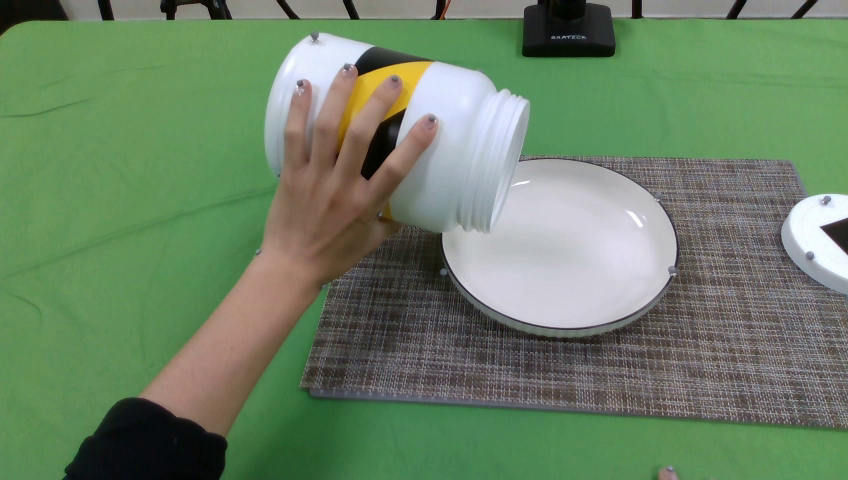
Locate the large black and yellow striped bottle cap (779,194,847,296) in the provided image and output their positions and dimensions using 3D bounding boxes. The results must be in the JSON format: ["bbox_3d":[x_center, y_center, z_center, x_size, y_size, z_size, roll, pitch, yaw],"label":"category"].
[{"bbox_3d":[0.383,0.003,0.545,0.115,0.019,0.114,0,49,0],"label":"large black and yellow striped bottle cap"}]

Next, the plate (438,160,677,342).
[{"bbox_3d":[0.117,0.008,0.548,0.207,0.039,0.205,-2,47,3],"label":"plate"}]

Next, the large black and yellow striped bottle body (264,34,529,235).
[{"bbox_3d":[-0.018,-0.081,0.491,0.183,0.132,0.130,17,51,10],"label":"large black and yellow striped bottle body"}]
